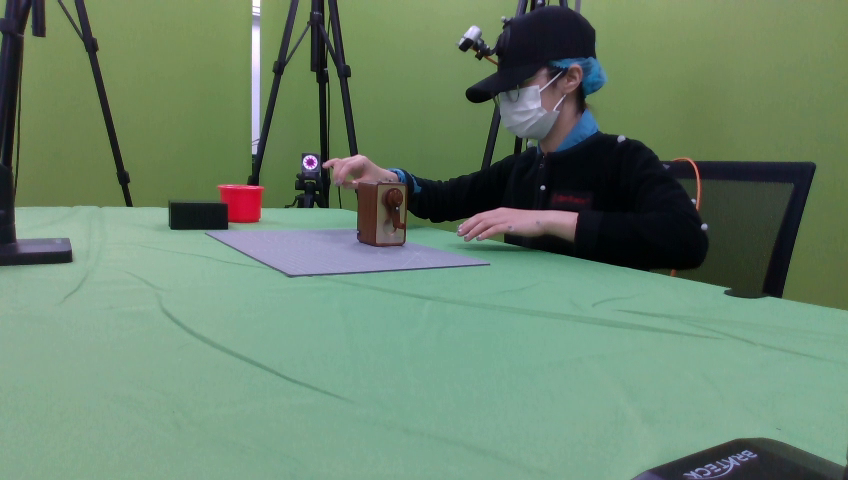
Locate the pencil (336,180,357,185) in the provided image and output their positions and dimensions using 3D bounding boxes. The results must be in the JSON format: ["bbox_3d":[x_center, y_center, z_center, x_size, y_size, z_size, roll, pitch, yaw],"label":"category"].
[{"bbox_3d":[-0.147,-0.110,1.161,0.012,0.012,0.193,0,5,-19],"label":"pencil"}]

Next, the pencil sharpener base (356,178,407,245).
[{"bbox_3d":[-0.071,-0.049,1.018,0.062,0.107,0.076,-2,9,-32],"label":"pencil sharpener base"}]

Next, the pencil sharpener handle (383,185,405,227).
[{"bbox_3d":[-0.043,-0.054,0.975,0.036,0.067,0.030,-10,13,-31],"label":"pencil sharpener handle"}]
